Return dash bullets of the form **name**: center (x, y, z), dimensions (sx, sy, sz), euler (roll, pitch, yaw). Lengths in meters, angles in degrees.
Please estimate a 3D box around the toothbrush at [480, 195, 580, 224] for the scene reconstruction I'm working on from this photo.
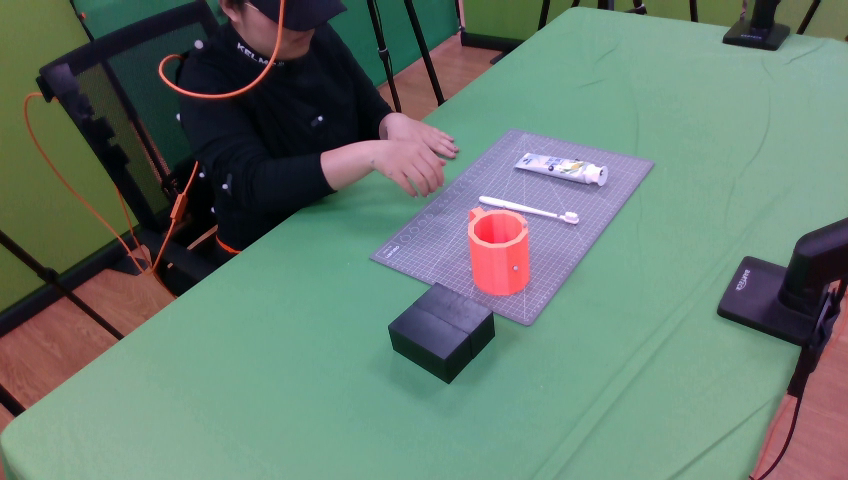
- **toothbrush**: center (0.175, -0.054, 1.016), dimensions (0.180, 0.017, 0.014), euler (15, 59, 28)

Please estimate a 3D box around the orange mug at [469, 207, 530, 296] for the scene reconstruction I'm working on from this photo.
- **orange mug**: center (0.104, 0.008, 0.894), dimensions (0.084, 0.101, 0.125), euler (-22, 46, -14)

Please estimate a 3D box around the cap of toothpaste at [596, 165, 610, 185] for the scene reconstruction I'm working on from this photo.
- **cap of toothpaste**: center (0.307, -0.113, 1.041), dimensions (0.011, 0.037, 0.037), euler (20, 48, 39)

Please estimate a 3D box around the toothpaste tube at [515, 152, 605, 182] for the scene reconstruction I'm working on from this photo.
- **toothpaste tube**: center (0.248, -0.133, 1.087), dimensions (0.164, 0.034, 0.055), euler (18, 42, 34)
